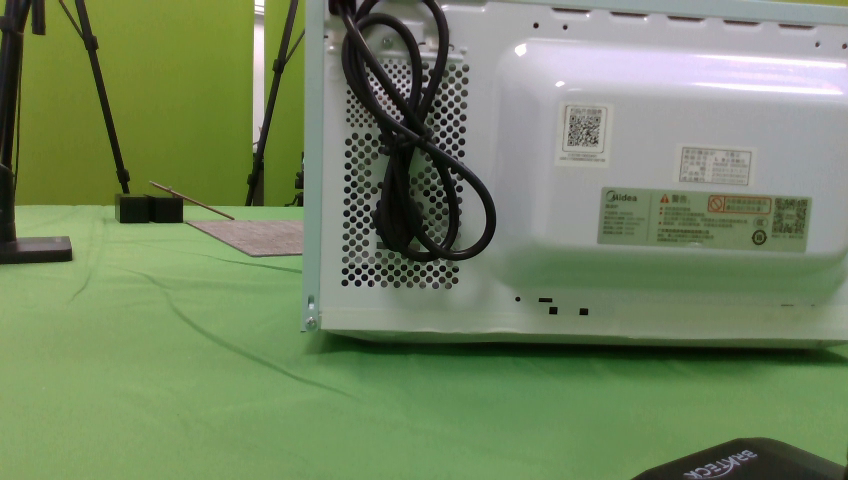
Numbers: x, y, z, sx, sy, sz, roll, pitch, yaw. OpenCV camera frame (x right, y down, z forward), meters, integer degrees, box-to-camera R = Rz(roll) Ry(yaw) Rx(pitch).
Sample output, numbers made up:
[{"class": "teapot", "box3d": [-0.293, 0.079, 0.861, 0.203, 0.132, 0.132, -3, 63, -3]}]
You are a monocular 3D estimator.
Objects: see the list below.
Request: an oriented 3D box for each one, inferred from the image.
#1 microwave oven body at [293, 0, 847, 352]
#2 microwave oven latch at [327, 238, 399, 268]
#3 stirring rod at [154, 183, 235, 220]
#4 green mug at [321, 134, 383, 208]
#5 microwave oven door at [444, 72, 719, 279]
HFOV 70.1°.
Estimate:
[{"class": "microwave oven body", "box3d": [0.122, -0.055, 0.550, 0.442, 0.260, 0.325, 3, 7, -5]}, {"class": "microwave oven latch", "box3d": [-0.069, 0.015, 0.694, 0.079, 0.029, 0.030, 3, 7, -3]}, {"class": "stirring rod", "box3d": [-0.472, -0.079, 1.252, 0.177, 0.006, 0.014, 27, 4, -35]}, {"class": "green mug", "box3d": [-0.107, -0.103, 0.922, 0.092, 0.105, 0.125, 2, 5, -1]}, {"class": "microwave oven door", "box3d": [0.188, -0.090, 0.804, 0.354, 0.243, 0.039, 7, 8, 34]}]
